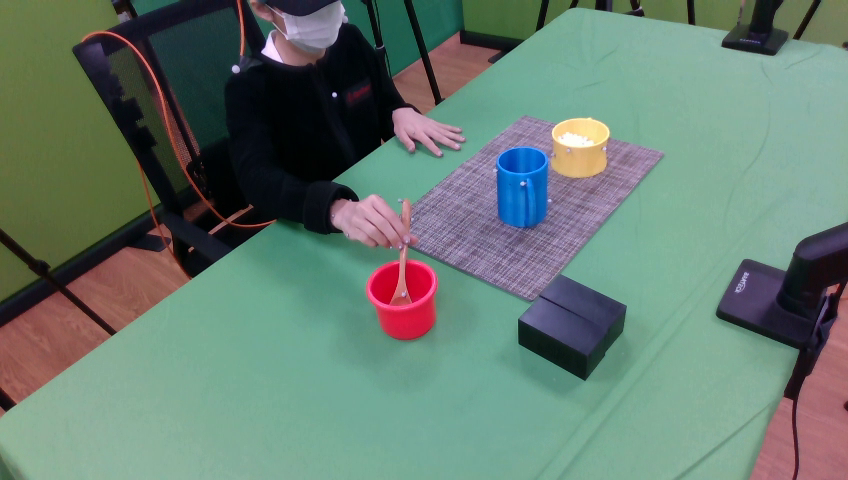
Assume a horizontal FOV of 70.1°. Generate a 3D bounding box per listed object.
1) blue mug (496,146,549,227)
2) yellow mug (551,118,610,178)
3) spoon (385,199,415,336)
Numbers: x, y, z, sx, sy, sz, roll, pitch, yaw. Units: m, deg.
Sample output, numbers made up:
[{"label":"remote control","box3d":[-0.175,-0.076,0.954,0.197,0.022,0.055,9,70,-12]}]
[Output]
[{"label":"blue mug","box3d":[0.162,-0.076,0.969,0.082,0.106,0.116,-9,40,-1]},{"label":"yellow mug","box3d":[0.287,-0.176,1.098,0.099,0.064,0.131,12,43,22]},{"label":"spoon","box3d":[-0.029,0.037,0.843,0.041,0.022,0.193,2,85,11]}]
